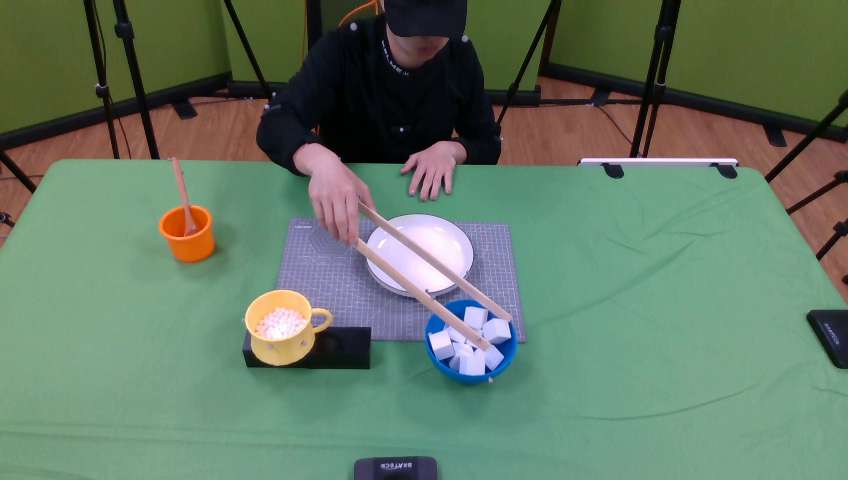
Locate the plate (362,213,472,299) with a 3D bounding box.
[{"bbox_3d":[-0.014,0.034,1.150,0.208,0.039,0.206,2,46,-2],"label":"plate"}]

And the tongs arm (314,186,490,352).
[{"bbox_3d":[-0.040,0.043,0.991,0.384,0.026,0.050,37,51,9],"label":"tongs arm"}]

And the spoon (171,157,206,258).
[{"bbox_3d":[-0.444,-0.061,1.133,0.042,0.194,0.021,-12,4,-19],"label":"spoon"}]

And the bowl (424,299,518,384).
[{"bbox_3d":[0.072,0.179,0.993,0.151,0.077,0.150,2,47,-2],"label":"bowl"}]

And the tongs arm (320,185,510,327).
[{"bbox_3d":[-0.017,0.023,1.016,0.387,0.028,0.028,37,55,9],"label":"tongs arm"}]

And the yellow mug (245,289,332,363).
[{"bbox_3d":[-0.211,0.132,0.954,0.131,0.064,0.099,-9,48,-14],"label":"yellow mug"}]
